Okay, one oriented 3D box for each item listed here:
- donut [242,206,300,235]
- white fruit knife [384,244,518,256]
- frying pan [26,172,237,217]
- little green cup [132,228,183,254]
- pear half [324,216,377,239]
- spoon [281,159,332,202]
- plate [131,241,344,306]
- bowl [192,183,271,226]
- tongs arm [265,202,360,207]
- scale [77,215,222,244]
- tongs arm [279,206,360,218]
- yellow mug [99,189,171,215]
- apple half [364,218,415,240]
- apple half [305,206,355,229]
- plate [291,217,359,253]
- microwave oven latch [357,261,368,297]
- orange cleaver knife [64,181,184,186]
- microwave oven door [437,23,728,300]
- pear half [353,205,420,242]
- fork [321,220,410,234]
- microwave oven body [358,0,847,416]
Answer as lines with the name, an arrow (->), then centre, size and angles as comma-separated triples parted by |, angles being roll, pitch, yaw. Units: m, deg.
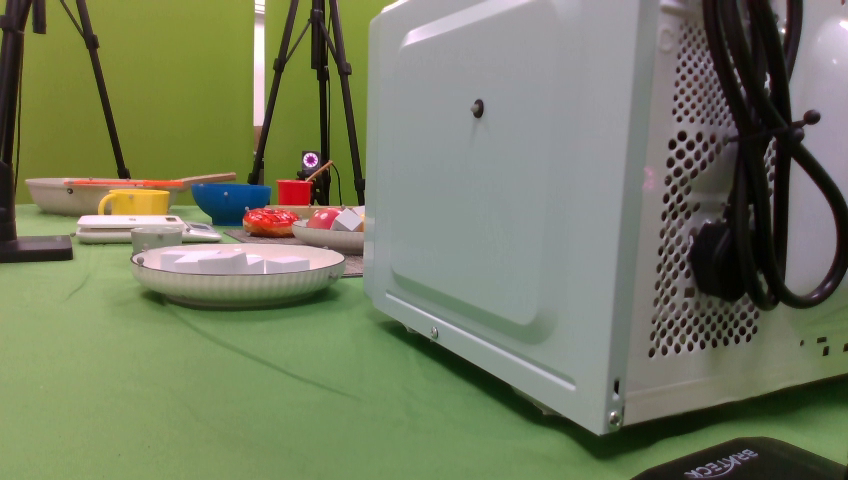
donut -> -0.263, -0.032, 1.039 | 0.099, 0.048, 0.099 | 4, 10, 0
white fruit knife -> 0.041, 0.016, 0.878 | 0.208, 0.016, 0.027 | -2, -3, -24
frying pan -> -0.624, -0.118, 1.387 | 0.305, 0.102, 0.490 | 8, 17, 32
little green cup -> -0.342, 0.006, 0.779 | 0.061, 0.038, 0.061 | 2, 8, 0
pear half -> -0.119, -0.023, 0.996 | 0.088, 0.031, 0.070 | -4, 23, -27
spoon -> -0.316, -0.159, 1.640 | 0.194, 0.022, 0.041 | -50, 32, -20
plate -> -0.187, 0.033, 0.625 | 0.208, 0.039, 0.207 | 2, 8, 0
bowl -> -0.382, -0.071, 1.202 | 0.151, 0.077, 0.151 | 3, 7, 0
tongs arm -> -0.217, -0.076, 1.469 | 0.389, 0.027, 0.028 | 0, 1, -26
scale -> -0.434, -0.019, 0.963 | 0.202, 0.031, 0.148 | -1, 9, -27
tongs arm -> -0.171, -0.067, 1.401 | 0.387, 0.026, 0.050 | -2, 6, -39
yellow mug -> -0.518, -0.055, 1.080 | 0.099, 0.064, 0.131 | 7, 9, 26
apple half -> -0.054, -0.019, 0.967 | 0.081, 0.033, 0.081 | -4, 8, 1
apple half -> -0.138, -0.025, 0.917 | 0.081, 0.053, 0.074 | 0, 10, -43
plate -> -0.103, -0.009, 0.945 | 0.209, 0.038, 0.209 | 2, 7, 0
microwave oven latch -> -0.019, 0.033, 0.531 | 0.079, 0.029, 0.030 | -1, 7, -27
orange cleaver knife -> -0.595, -0.114, 1.212 | 0.212, 0.012, 0.077 | -4, 7, -41
microwave oven door -> 0.180, -0.072, 0.621 | 0.358, 0.243, 0.039 | -2, 8, -29
pear half -> -0.051, -0.024, 0.905 | 0.110, 0.056, 0.076 | 2, -2, -38
fork -> -0.104, -0.025, 1.131 | 0.208, 0.028, 0.018 | -1, 35, -41
microwave oven body -> 0.211, -0.047, 0.474 | 0.444, 0.260, 0.324 | -1, 7, -28
